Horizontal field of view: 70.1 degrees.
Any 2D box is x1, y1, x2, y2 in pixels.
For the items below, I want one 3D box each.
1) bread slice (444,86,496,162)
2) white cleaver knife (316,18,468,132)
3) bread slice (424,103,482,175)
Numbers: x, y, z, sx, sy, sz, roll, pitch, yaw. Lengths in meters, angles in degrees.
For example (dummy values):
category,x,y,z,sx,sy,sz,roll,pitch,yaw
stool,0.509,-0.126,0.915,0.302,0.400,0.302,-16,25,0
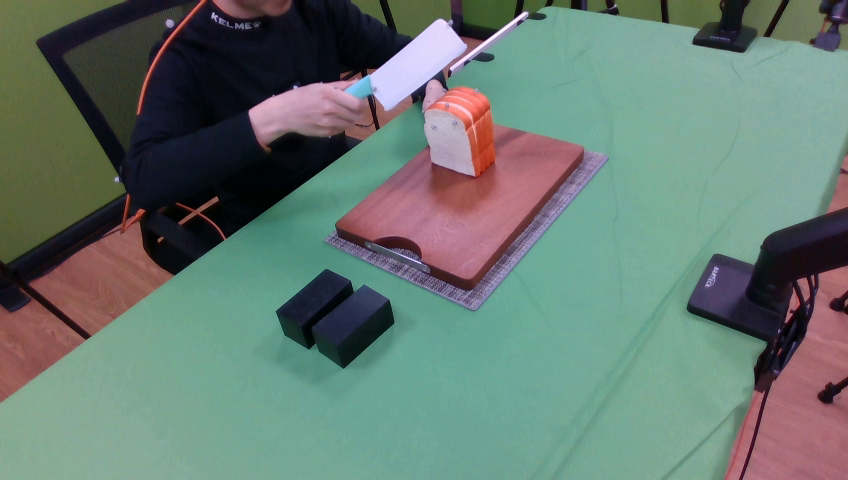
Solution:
category,x,y,z,sx,sy,sz,roll,pitch,yaw
bread slice,0.079,-0.204,1.067,0.106,0.135,0.018,25,50,29
white cleaver knife,-0.059,-0.235,0.923,0.285,0.066,0.021,-27,22,32
bread slice,0.045,-0.175,1.039,0.104,0.132,0.019,21,55,32
